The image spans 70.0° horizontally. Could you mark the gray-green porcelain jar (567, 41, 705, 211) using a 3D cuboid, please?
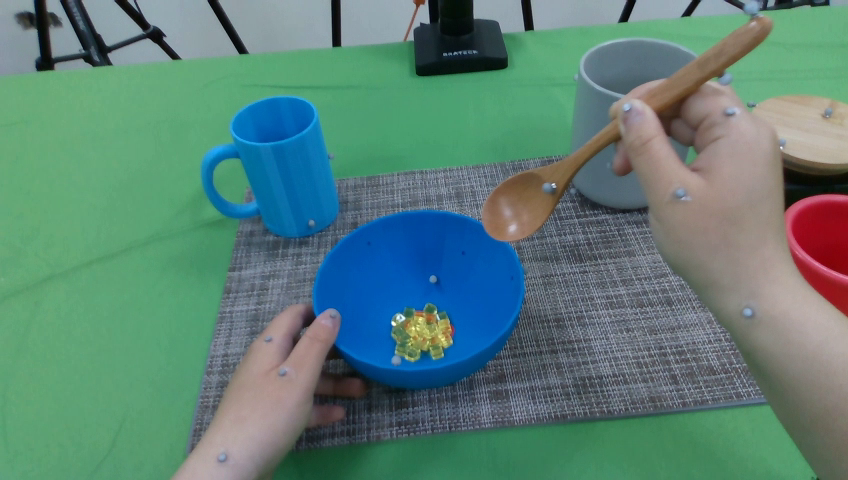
[{"bbox_3d":[0.187,-0.099,0.555,0.106,0.128,0.105,-3,45,3],"label":"gray-green porcelain jar"}]

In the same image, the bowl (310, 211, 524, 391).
[{"bbox_3d":[-0.002,0.056,0.450,0.151,0.077,0.150,-3,44,3],"label":"bowl"}]

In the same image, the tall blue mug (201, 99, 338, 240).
[{"bbox_3d":[-0.138,-0.056,0.556,0.077,0.109,0.107,31,55,30],"label":"tall blue mug"}]

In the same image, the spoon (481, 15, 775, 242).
[{"bbox_3d":[0.098,-0.052,0.333,0.022,0.194,0.041,-2,65,-37],"label":"spoon"}]

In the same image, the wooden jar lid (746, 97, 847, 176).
[{"bbox_3d":[0.346,-0.093,0.543,0.108,0.021,0.107,-3,44,4],"label":"wooden jar lid"}]
